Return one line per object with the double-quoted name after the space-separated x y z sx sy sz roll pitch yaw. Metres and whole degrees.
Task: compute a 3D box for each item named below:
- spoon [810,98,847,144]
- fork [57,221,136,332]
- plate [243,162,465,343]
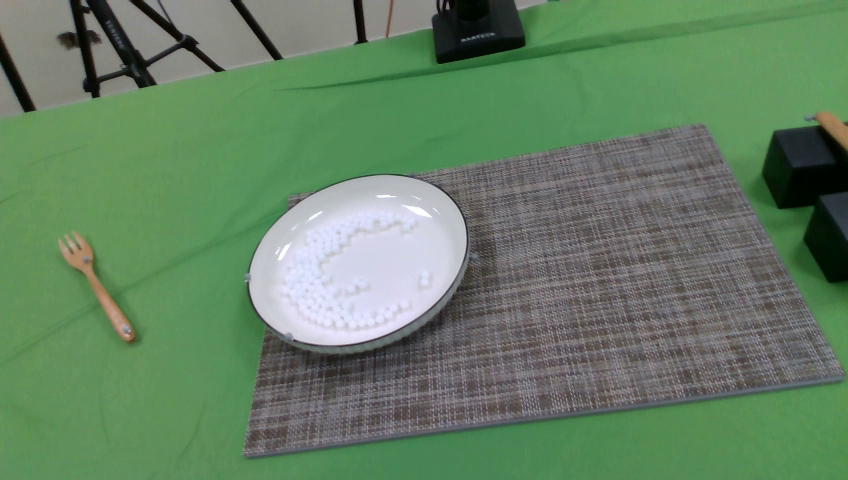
0.348 -0.058 0.467 0.041 0.022 0.191 -25 43 23 "spoon"
-0.343 0.035 0.633 0.028 0.019 0.205 -34 48 -24 "fork"
-0.063 0.010 0.566 0.207 0.039 0.205 -7 48 8 "plate"
